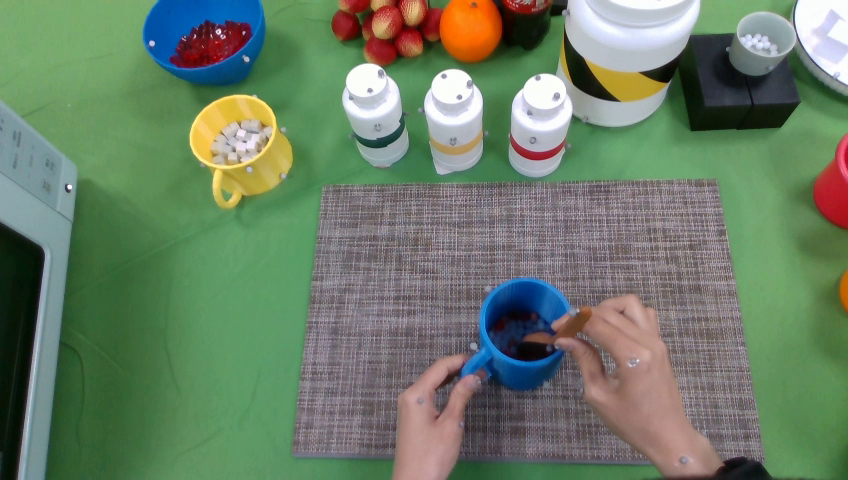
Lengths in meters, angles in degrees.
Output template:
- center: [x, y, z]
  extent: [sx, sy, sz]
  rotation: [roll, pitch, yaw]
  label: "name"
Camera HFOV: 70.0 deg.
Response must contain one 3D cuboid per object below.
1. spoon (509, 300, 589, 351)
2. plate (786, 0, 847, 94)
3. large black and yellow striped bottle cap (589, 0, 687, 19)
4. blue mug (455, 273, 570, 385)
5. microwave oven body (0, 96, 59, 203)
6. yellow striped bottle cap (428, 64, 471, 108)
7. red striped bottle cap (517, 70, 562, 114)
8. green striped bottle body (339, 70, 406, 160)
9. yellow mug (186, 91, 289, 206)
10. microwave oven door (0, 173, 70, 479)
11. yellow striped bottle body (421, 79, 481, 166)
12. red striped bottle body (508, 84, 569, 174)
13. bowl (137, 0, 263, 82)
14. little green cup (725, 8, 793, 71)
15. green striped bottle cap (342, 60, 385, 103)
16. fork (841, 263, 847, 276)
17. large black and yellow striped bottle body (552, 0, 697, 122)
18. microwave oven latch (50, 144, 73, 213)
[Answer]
- center: [0.107, 0.076, 0.512]
  extent: [0.041, 0.194, 0.021]
  rotation: [6, 75, -2]
  label: "spoon"
- center: [0.534, -0.247, 0.716]
  extent: [0.209, 0.038, 0.207]
  rotation: [-2, 68, 4]
  label: "plate"
- center: [0.205, -0.262, 0.580]
  extent: [0.115, 0.019, 0.114]
  rotation: [-2, 66, 5]
  label: "large black and yellow striped bottle cap"
- center: [0.078, 0.096, 0.571]
  extent: [0.116, 0.106, 0.081]
  rotation: [-34, 68, -9]
  label: "blue mug"
- center: [-0.561, 0.076, 0.550]
  extent: [0.326, 0.262, 0.438]
  rotation: [-9, 67, 1]
  label: "microwave oven body"
- center: [0.026, -0.158, 0.622]
  extent: [0.044, 0.019, 0.044]
  rotation: [-1, 68, 4]
  label: "yellow striped bottle cap"
- center: [0.117, -0.149, 0.610]
  extent: [0.044, 0.018, 0.044]
  rotation: [0, 66, 1]
  label: "red striped bottle cap"
- center: [-0.058, -0.146, 0.681]
  extent: [0.063, 0.120, 0.062]
  rotation: [-2, 67, 4]
  label: "green striped bottle body"
- center: [-0.220, -0.101, 0.705]
  extent: [0.100, 0.064, 0.130]
  rotation: [9, 69, 8]
  label: "yellow mug"
- center: [-0.412, 0.090, 0.526]
  extent: [0.039, 0.245, 0.353]
  rotation: [-9, 67, 2]
  label: "microwave oven door"
- center: [0.030, -0.138, 0.669]
  extent: [0.063, 0.121, 0.062]
  rotation: [-2, 66, 5]
  label: "yellow striped bottle body"
- center: [0.123, -0.128, 0.657]
  extent: [0.063, 0.120, 0.062]
  rotation: [-3, 65, 7]
  label: "red striped bottle body"
- center: [-0.269, -0.255, 0.768]
  extent: [0.151, 0.077, 0.150]
  rotation: [-1, 67, 4]
  label: "bowl"
- center: [0.364, -0.217, 0.663]
  extent: [0.061, 0.039, 0.061]
  rotation: [-1, 65, 2]
  label: "little green cup"
- center: [-0.063, -0.166, 0.633]
  extent: [0.044, 0.020, 0.044]
  rotation: [-2, 65, 4]
  label: "green striped bottle cap"
- center: [0.475, 0.055, 0.534]
  extent: [0.028, 0.019, 0.205]
  rotation: [-37, 25, -10]
  label: "fork"
- center: [0.213, -0.230, 0.658]
  extent: [0.131, 0.185, 0.130]
  rotation: [-2, 67, 5]
  label: "large black and yellow striped bottle body"
- center: [-0.431, -0.070, 0.705]
  extent: [0.030, 0.030, 0.078]
  rotation: [-7, 67, 1]
  label: "microwave oven latch"
